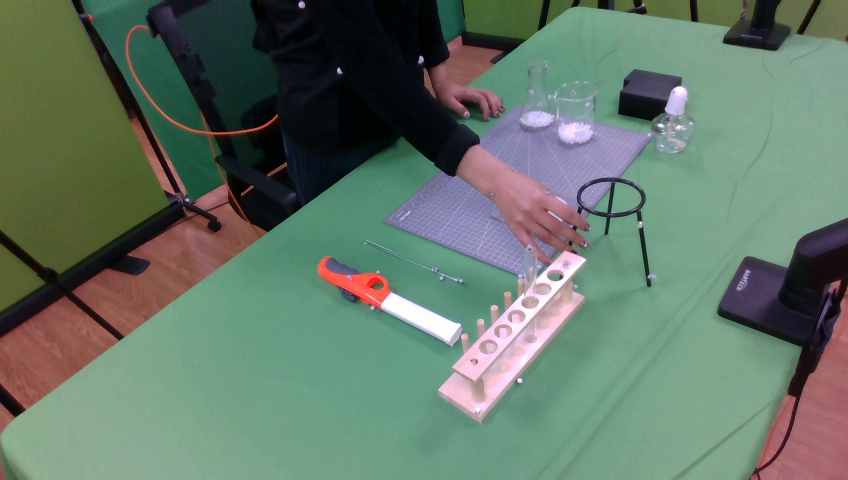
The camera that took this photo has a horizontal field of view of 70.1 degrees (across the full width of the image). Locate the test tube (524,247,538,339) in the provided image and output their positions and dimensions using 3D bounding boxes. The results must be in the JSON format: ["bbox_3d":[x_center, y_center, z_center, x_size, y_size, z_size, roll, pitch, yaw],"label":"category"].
[{"bbox_3d":[0.133,0.070,0.749,0.017,0.151,0.017,-5,38,4],"label":"test tube"}]

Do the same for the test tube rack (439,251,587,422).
[{"bbox_3d":[0.118,0.111,0.780,0.066,0.085,0.243,26,51,34],"label":"test tube rack"}]

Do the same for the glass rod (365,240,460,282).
[{"bbox_3d":[-0.022,0.032,0.961,0.198,0.008,0.008,21,49,35],"label":"glass rod"}]

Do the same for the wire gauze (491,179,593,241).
[{"bbox_3d":[0.198,-0.051,1.013,0.120,0.011,0.125,30,56,36],"label":"wire gauze"}]

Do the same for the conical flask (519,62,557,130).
[{"bbox_3d":[0.225,-0.287,1.198,0.075,0.122,0.075,-6,40,5],"label":"conical flask"}]

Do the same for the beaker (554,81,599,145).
[{"bbox_3d":[0.286,-0.237,1.144,0.084,0.101,0.073,-17,40,-7],"label":"beaker"}]

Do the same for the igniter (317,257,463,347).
[{"bbox_3d":[-0.061,0.085,0.891,0.274,0.025,0.057,23,59,32],"label":"igniter"}]

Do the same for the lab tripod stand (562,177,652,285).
[{"bbox_3d":[0.263,-0.014,0.864,0.148,0.132,0.147,-7,38,6],"label":"lab tripod stand"}]

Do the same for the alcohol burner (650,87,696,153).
[{"bbox_3d":[0.448,-0.217,1.084,0.078,0.119,0.077,-6,38,5],"label":"alcohol burner"}]

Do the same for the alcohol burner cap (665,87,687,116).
[{"bbox_3d":[0.445,-0.244,1.060,0.034,0.048,0.033,-2,45,3],"label":"alcohol burner cap"}]
